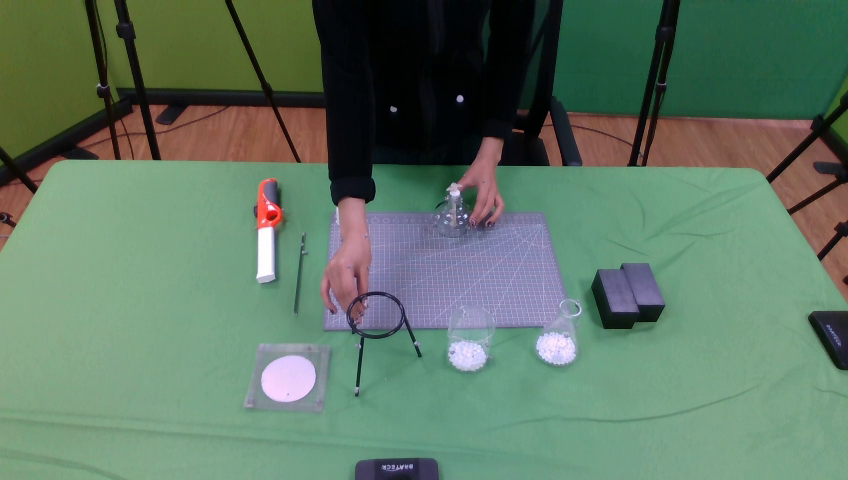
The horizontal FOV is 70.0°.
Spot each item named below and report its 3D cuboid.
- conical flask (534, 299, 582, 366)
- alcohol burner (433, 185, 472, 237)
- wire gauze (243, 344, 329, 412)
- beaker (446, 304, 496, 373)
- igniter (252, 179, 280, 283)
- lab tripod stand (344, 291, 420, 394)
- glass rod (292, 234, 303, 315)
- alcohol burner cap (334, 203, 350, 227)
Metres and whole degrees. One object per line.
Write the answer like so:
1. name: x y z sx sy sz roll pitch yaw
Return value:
1. conical flask: 0.229 0.149 1.005 0.075 0.122 0.075 2 46 -2
2. alcohol burner: 0.057 -0.062 1.198 0.078 0.120 0.077 1 48 -1
3. wire gauze: -0.221 0.219 0.980 0.125 0.011 0.120 2 45 0
4. beaker: 0.072 0.166 0.992 0.084 0.101 0.073 -21 51 -22
5. igniter: -0.312 -0.027 1.197 0.057 0.025 0.274 -13 47 -1
6. lab tripod stand: -0.075 0.155 0.967 0.148 0.132 0.147 3 44 -3
7. glass rod: -0.236 0.059 1.133 0.008 0.008 0.198 -1 46 -4
8. alcohol burner cap: -0.166 -0.053 1.220 0.034 0.048 0.033 2 46 -2
